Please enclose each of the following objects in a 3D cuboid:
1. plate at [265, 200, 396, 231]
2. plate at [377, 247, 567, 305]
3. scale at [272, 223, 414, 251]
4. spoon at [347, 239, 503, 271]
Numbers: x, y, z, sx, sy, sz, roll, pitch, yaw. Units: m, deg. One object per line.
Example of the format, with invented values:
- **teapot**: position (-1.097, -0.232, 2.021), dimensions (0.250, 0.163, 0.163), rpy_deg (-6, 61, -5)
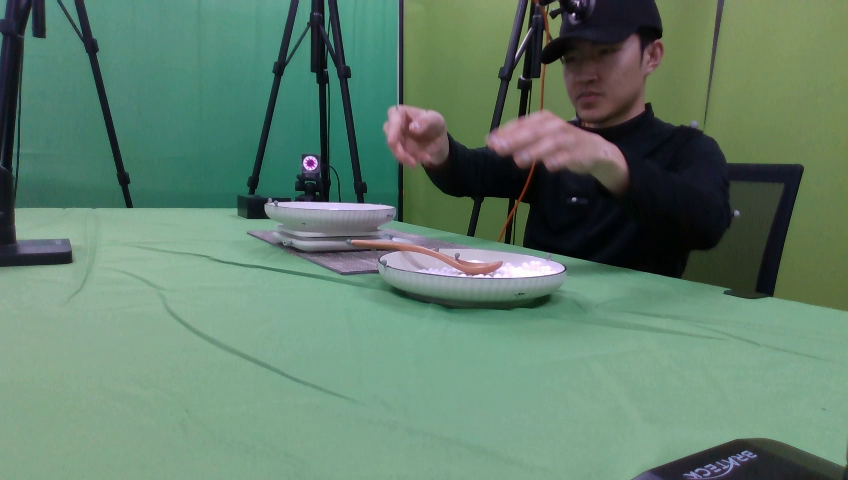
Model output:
- **plate**: position (-0.150, -0.040, 0.972), dimensions (0.208, 0.039, 0.207), rpy_deg (2, 7, 0)
- **plate**: position (0.052, 0.039, 0.671), dimensions (0.209, 0.038, 0.209), rpy_deg (2, 6, 0)
- **scale**: position (-0.131, -0.008, 0.984), dimensions (0.202, 0.031, 0.148), rpy_deg (-2, 8, -32)
- **spoon**: position (-0.002, 0.014, 0.721), dimensions (0.193, 0.021, 0.042), rpy_deg (12, 9, 17)
